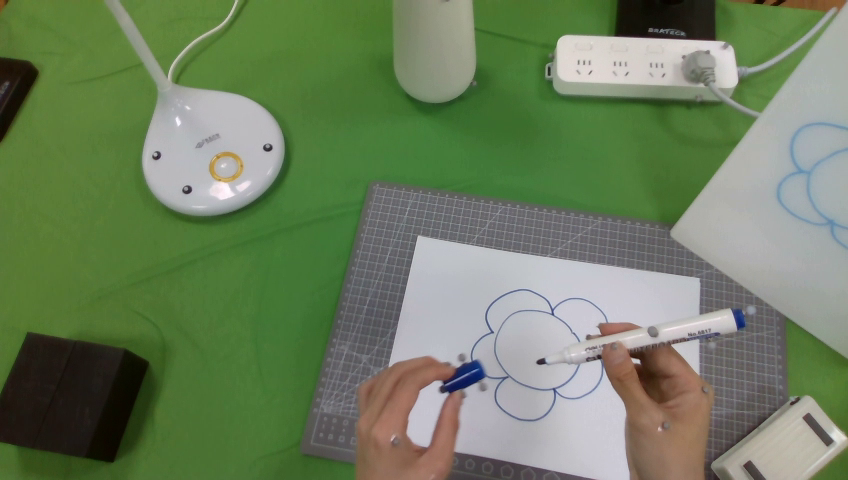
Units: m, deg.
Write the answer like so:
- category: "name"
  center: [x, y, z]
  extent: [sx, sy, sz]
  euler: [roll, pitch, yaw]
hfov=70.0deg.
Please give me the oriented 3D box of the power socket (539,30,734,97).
- category: "power socket"
  center: [0.254, -0.211, 0.724]
  extent: [0.227, 0.033, 0.071]
  euler: [4, 67, 3]

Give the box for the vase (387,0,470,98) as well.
- category: "vase"
  center: [0.002, -0.246, 0.657]
  extent: [0.098, 0.201, 0.097]
  euler: [-1, 66, 3]

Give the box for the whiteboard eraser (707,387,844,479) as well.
- category: "whiteboard eraser"
  center: [0.313, 0.185, 0.543]
  extent: [0.113, 0.042, 0.055]
  euler: [-32, 69, -11]

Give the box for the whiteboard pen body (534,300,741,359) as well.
- category: "whiteboard pen body"
  center: [0.142, 0.065, 0.418]
  extent: [0.140, 0.017, 0.017]
  euler: [-18, 64, 21]

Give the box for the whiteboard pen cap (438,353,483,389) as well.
- category: "whiteboard pen cap"
  center: [0.028, 0.098, 0.456]
  extent: [0.033, 0.018, 0.018]
  euler: [-28, 66, 13]

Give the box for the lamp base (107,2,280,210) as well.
- category: "lamp base"
  center: [-0.258, -0.145, 0.630]
  extent: [0.178, 0.181, 0.160]
  euler: [41, 73, 20]

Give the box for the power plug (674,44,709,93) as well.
- category: "power plug"
  center: [0.301, -0.190, 0.690]
  extent: [0.035, 0.053, 0.072]
  euler: [13, 74, 8]

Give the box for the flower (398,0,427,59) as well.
- category: "flower"
  center: [0.017, -0.269, 0.577]
  extent: [0.044, 0.362, 0.038]
  euler: [-32, 86, -21]

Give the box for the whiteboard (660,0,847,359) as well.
- category: "whiteboard"
  center: [0.408, -0.076, 0.547]
  extent: [0.216, 0.307, 0.144]
  euler: [39, 52, 17]
